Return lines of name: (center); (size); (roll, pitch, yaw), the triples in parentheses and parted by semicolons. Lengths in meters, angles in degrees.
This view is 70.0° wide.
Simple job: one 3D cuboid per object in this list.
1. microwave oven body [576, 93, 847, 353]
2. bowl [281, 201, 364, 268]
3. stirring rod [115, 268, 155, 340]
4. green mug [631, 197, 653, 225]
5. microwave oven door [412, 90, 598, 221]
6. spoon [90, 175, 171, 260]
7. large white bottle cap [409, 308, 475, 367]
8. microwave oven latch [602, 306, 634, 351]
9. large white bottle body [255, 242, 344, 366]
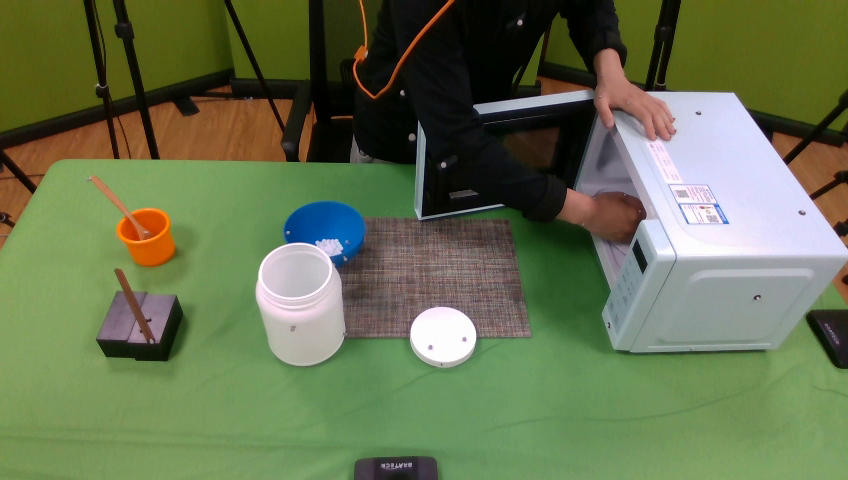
microwave oven body: (0.475, -0.042, 1.109); (0.326, 0.261, 0.438); (-1, 45, -4)
bowl: (-0.187, 0.005, 1.138); (0.151, 0.077, 0.150); (3, 46, -3)
stirring rod: (-0.478, 0.103, 0.999); (0.014, 0.006, 0.175); (7, 32, -49)
green mug: (0.456, -0.058, 1.156); (0.125, 0.105, 0.092); (-11, 45, -10)
microwave oven door: (0.155, -0.166, 1.200); (0.356, 0.245, 0.039); (-10, 47, -14)
spoon: (-0.538, -0.042, 1.111); (0.021, 0.194, 0.041); (-13, 27, 52)
large white bottle cap: (0.031, 0.166, 1.041); (0.115, 0.018, 0.114); (2, 47, -2)
microwave oven latch: (0.332, 0.153, 1.044); (0.030, 0.029, 0.078); (0, 45, -3)
large white bottle body: (-0.196, 0.102, 0.967); (0.131, 0.185, 0.130); (2, 49, -2)
